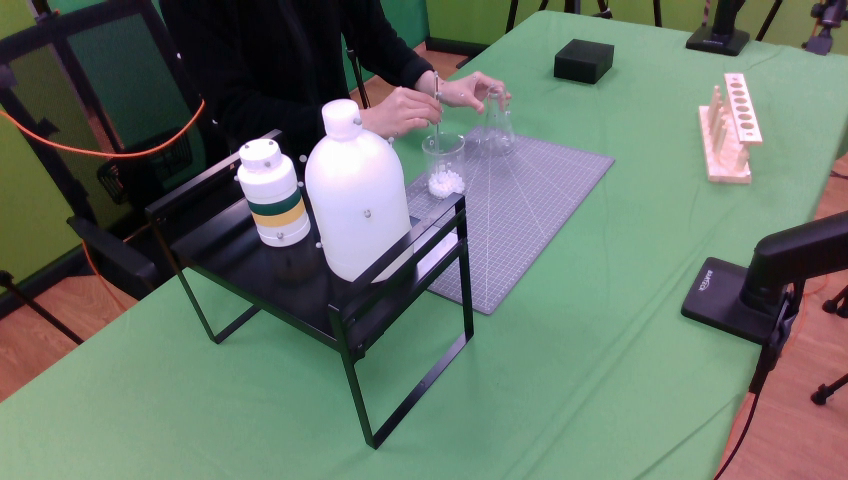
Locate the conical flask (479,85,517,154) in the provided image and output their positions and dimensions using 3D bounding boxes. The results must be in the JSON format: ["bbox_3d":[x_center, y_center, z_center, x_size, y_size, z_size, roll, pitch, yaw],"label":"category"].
[{"bbox_3d":[0.139,-0.231,1.145,0.075,0.122,0.075,-4,41,4],"label":"conical flask"}]

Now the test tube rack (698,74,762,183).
[{"bbox_3d":[0.547,-0.208,1.095,0.066,0.085,0.242,5,42,15],"label":"test tube rack"}]

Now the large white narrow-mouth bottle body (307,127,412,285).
[{"bbox_3d":[-0.070,-0.051,0.638,0.102,0.195,0.101,-3,40,3],"label":"large white narrow-mouth bottle body"}]

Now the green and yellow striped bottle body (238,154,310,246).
[{"bbox_3d":[-0.178,-0.056,0.714,0.063,0.120,0.063,-4,40,4],"label":"green and yellow striped bottle body"}]

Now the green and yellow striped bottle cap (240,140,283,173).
[{"bbox_3d":[-0.183,-0.094,0.679,0.045,0.020,0.045,-4,38,4],"label":"green and yellow striped bottle cap"}]

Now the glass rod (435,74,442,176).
[{"bbox_3d":[0.025,-0.188,1.021,0.008,0.200,0.008,-2,43,2],"label":"glass rod"}]

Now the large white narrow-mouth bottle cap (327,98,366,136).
[{"bbox_3d":[-0.075,-0.118,0.581,0.038,0.024,0.037,-3,40,3],"label":"large white narrow-mouth bottle cap"}]

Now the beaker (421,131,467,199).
[{"bbox_3d":[0.040,-0.130,1.060,0.084,0.100,0.073,-24,44,-20],"label":"beaker"}]
